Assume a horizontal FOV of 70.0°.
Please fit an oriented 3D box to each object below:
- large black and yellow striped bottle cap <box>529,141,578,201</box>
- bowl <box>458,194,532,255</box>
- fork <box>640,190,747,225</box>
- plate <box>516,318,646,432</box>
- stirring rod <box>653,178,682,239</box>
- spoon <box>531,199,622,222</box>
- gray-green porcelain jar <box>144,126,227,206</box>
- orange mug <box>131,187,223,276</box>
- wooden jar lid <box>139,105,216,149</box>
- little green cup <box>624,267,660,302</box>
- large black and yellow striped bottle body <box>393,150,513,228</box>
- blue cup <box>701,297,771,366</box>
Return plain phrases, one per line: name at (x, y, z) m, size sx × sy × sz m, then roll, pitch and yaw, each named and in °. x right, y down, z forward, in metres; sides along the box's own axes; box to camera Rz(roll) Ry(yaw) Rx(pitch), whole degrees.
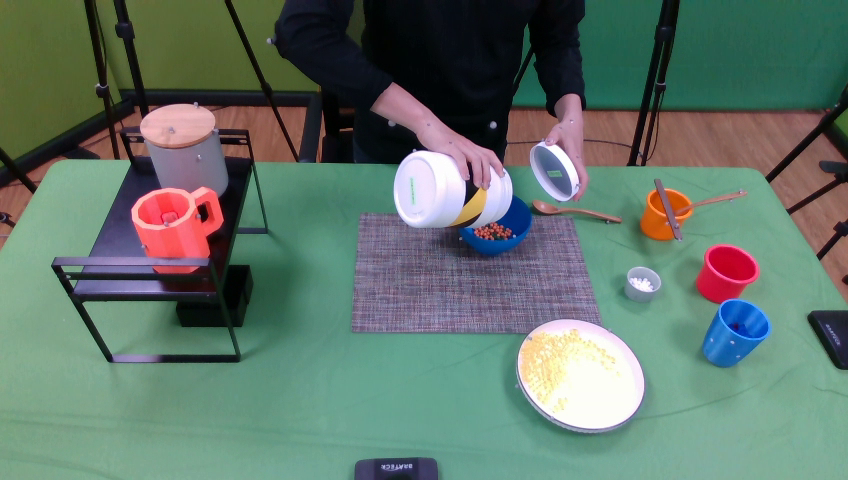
large black and yellow striped bottle cap at (0.232, -0.124, 1.088) m, size 0.019 × 0.115 × 0.114 m, roll -33°, pitch 55°, yaw -13°
bowl at (0.130, -0.025, 1.186) m, size 0.151 × 0.077 × 0.150 m, roll 2°, pitch 46°, yaw -2°
fork at (0.533, -0.064, 1.211) m, size 0.207 × 0.019 × 0.028 m, roll -22°, pitch 28°, yaw 38°
plate at (0.253, 0.221, 0.992) m, size 0.209 × 0.038 × 0.208 m, roll 2°, pitch 46°, yaw -2°
stirring rod at (0.482, -0.065, 1.203) m, size 0.014 × 0.006 × 0.175 m, roll 2°, pitch 46°, yaw 0°
spoon at (0.322, -0.060, 1.279) m, size 0.194 × 0.022 × 0.041 m, roll 8°, pitch 32°, yaw 4°
gray-green porcelain jar at (-0.375, -0.125, 0.967) m, size 0.106 × 0.127 × 0.105 m, roll 2°, pitch 46°, yaw -2°
orange mug at (-0.354, -0.022, 0.887) m, size 0.083 × 0.101 × 0.126 m, roll 31°, pitch 55°, yaw 24°
wooden jar lid at (-0.372, -0.169, 0.920) m, size 0.108 × 0.021 × 0.107 m, roll 4°, pitch 44°, yaw -4°
little green cup at (0.406, 0.084, 1.135) m, size 0.061 × 0.039 × 0.061 m, roll 3°, pitch 45°, yaw -3°
large black and yellow striped bottle body at (0.053, -0.086, 1.052) m, size 0.184 × 0.131 × 0.130 m, roll -1°, pitch 41°, yaw -40°
blue cup at (0.519, 0.162, 1.025) m, size 0.093 × 0.101 × 0.092 m, roll 3°, pitch 45°, yaw -3°
